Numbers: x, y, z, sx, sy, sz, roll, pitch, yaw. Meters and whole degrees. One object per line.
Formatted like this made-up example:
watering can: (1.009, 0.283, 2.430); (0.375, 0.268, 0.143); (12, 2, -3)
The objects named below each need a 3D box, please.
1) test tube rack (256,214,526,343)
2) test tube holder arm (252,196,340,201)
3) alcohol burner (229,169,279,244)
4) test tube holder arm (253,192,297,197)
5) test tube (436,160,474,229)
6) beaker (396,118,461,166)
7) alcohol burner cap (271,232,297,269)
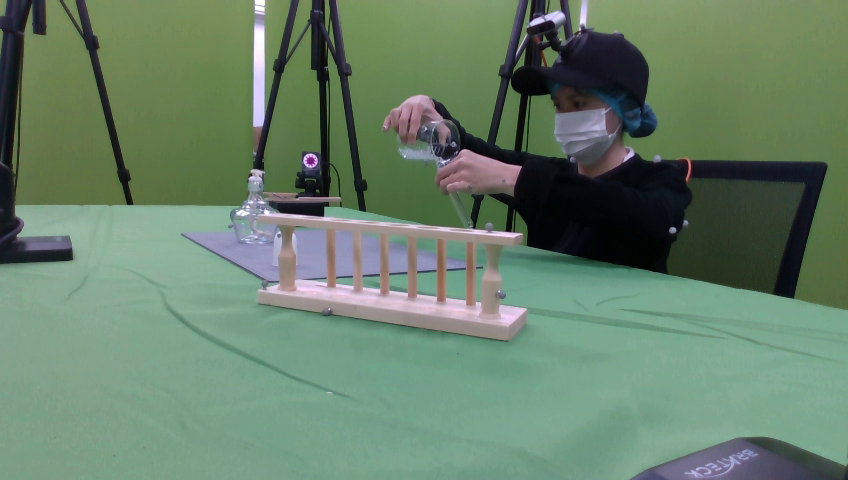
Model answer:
test tube rack: (-0.032, 0.027, 0.547); (0.241, 0.085, 0.067); (5, 7, 22)
test tube holder arm: (-0.260, -0.086, 1.242); (0.179, 0.013, 0.015); (-1, 7, -25)
alcohol burner: (-0.268, -0.053, 0.958); (0.078, 0.119, 0.078); (2, 6, 0)
test tube holder arm: (-0.301, -0.092, 1.223); (0.088, 0.010, 0.015); (0, 7, -25)
test tube: (0.050, -0.076, 1.005); (0.017, 0.017, 0.149); (-1, 51, -29)
beaker: (0.004, -0.175, 1.079); (0.074, 0.084, 0.100); (15, -3, -43)
alcohol burner cap: (-0.175, 0.012, 0.760); (0.034, 0.048, 0.034); (2, 8, 0)
